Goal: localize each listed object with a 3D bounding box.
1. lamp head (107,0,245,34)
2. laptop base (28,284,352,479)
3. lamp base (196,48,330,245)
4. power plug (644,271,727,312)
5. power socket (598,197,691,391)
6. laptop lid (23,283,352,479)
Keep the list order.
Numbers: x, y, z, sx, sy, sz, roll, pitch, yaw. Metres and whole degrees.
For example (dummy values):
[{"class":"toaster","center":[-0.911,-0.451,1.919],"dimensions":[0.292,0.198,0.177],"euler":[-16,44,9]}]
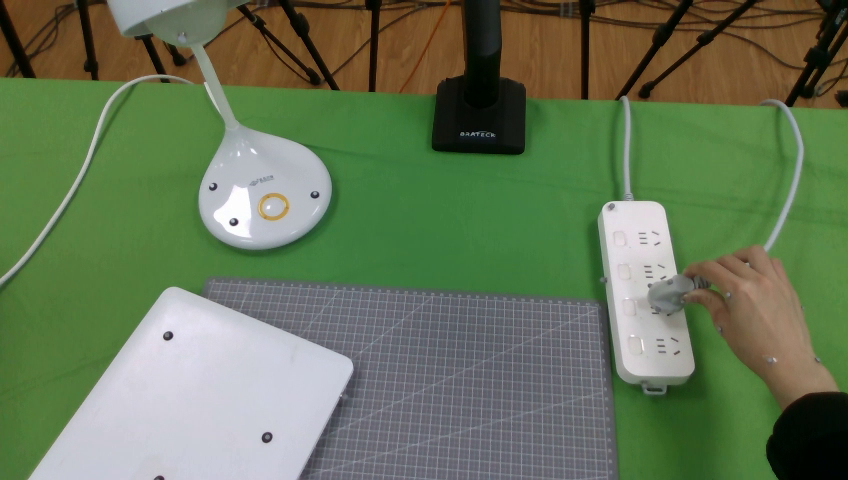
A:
[{"class":"lamp head","center":[-0.180,-0.216,0.417],"dimensions":[0.112,0.111,0.123],"euler":[-24,105,-11]},{"class":"laptop base","center":[-0.248,0.228,0.579],"dimensions":[0.235,0.023,0.352],"euler":[21,63,11]},{"class":"lamp base","center":[-0.206,-0.111,0.681],"dimensions":[0.160,0.182,0.177],"euler":[-31,60,-16]},{"class":"power plug","center":[0.259,0.055,0.605],"dimensions":[0.072,0.053,0.035],"euler":[6,58,12]},{"class":"power socket","center":[0.234,0.048,0.654],"dimensions":[0.072,0.033,0.224],"euler":[2,59,2]},{"class":"laptop lid","center":[-0.247,0.222,0.568],"dimensions":[0.241,0.013,0.355],"euler":[22,63,13]}]
